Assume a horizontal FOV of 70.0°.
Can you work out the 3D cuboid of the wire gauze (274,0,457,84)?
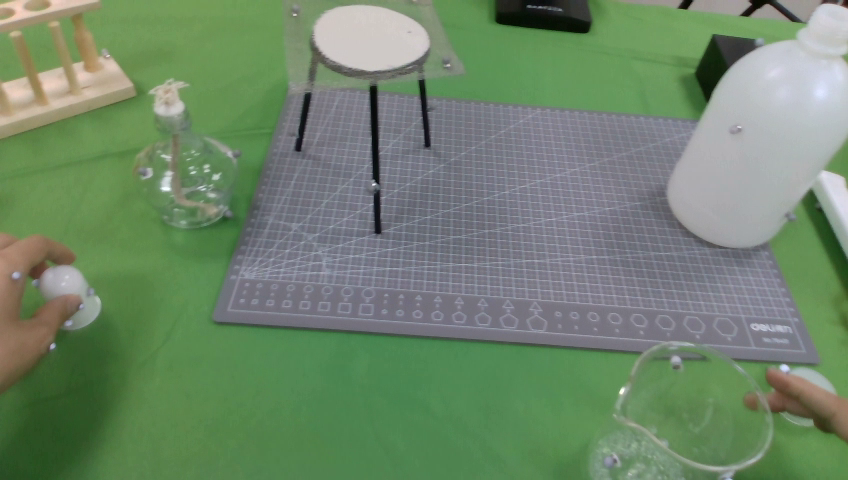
[{"bbox_3d":[-0.047,-0.157,0.445,0.122,0.011,0.123,-5,51,-13],"label":"wire gauze"}]

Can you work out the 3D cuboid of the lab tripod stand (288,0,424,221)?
[{"bbox_3d":[-0.049,-0.110,0.495,0.148,0.132,0.147,5,49,-5],"label":"lab tripod stand"}]

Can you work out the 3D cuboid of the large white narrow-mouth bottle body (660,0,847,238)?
[{"bbox_3d":[0.268,-0.097,0.481,0.102,0.196,0.101,3,49,-3],"label":"large white narrow-mouth bottle body"}]

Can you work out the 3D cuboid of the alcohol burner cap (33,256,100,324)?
[{"bbox_3d":[-0.245,0.032,0.411,0.034,0.048,0.033,4,49,-5],"label":"alcohol burner cap"}]

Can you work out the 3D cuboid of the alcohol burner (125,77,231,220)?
[{"bbox_3d":[-0.189,-0.073,0.462,0.078,0.120,0.077,5,47,-5],"label":"alcohol burner"}]

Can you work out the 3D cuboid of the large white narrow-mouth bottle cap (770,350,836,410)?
[{"bbox_3d":[0.268,0.099,0.429,0.038,0.024,0.037,3,49,-3],"label":"large white narrow-mouth bottle cap"}]

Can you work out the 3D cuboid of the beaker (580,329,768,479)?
[{"bbox_3d":[0.134,0.110,0.351,0.084,0.101,0.073,-5,49,-9],"label":"beaker"}]

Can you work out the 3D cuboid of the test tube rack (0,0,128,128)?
[{"bbox_3d":[-0.398,-0.144,0.517,0.242,0.086,0.066,-29,58,-28],"label":"test tube rack"}]

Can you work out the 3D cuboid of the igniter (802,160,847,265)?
[{"bbox_3d":[0.368,0.032,0.495,0.057,0.025,0.274,13,48,-9],"label":"igniter"}]
